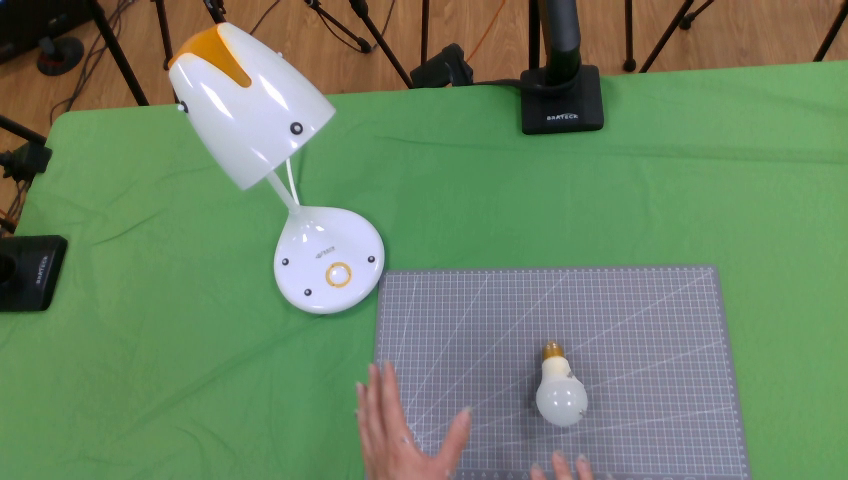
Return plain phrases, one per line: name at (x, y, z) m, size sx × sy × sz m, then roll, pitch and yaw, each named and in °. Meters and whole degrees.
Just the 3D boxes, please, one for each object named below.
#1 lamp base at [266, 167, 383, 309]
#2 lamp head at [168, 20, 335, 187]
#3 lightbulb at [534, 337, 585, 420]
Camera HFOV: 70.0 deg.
lamp base at (-0.157, -0.017, 0.797) m, size 0.160 × 0.182 × 0.177 m, roll -39°, pitch 64°, yaw -10°
lamp head at (-0.156, -0.124, 0.523) m, size 0.112 × 0.112 × 0.123 m, roll -45°, pitch 105°, yaw -12°
lightbulb at (0.162, 0.167, 0.739) m, size 0.059 × 0.060 × 0.106 m, roll -7°, pitch 50°, yaw 6°
